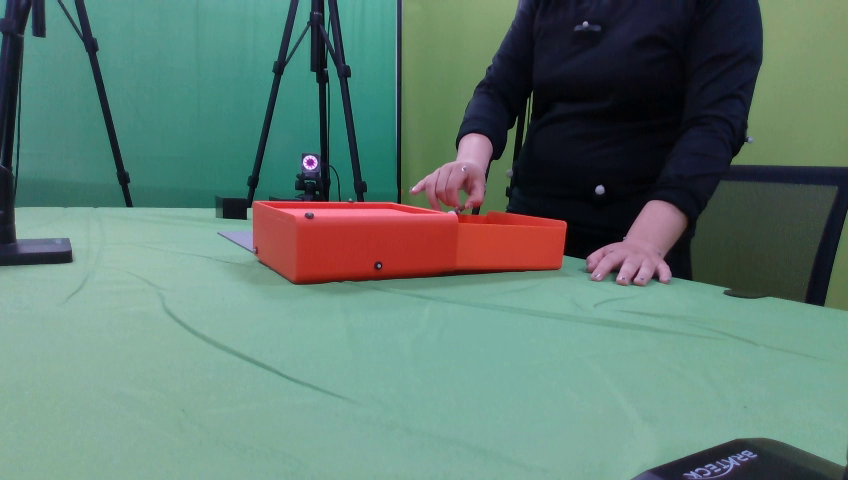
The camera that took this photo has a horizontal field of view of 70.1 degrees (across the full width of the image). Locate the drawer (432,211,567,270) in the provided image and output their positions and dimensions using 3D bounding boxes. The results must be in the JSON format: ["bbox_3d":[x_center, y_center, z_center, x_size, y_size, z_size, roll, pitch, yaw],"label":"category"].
[{"bbox_3d":[0.063,-0.005,0.878,0.213,0.073,0.193,1,7,-30],"label":"drawer"}]

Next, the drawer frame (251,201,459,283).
[{"bbox_3d":[-0.095,-0.005,0.788,0.215,0.082,0.200,-2,10,-30],"label":"drawer frame"}]

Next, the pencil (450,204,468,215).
[{"bbox_3d":[0.052,-0.044,0.905,0.012,0.012,0.194,4,9,11],"label":"pencil"}]
